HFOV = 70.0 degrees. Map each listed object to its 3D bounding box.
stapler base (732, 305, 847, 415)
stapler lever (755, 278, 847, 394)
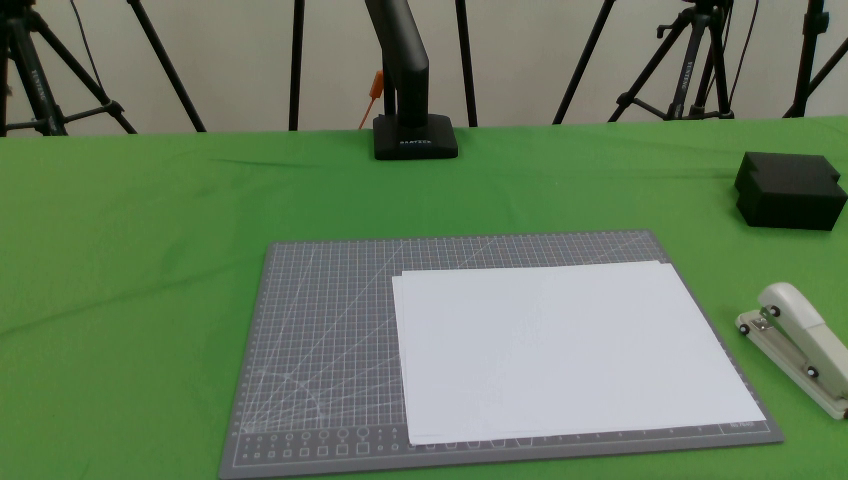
[{"bbox_3d":[0.344,0.100,0.557,0.041,0.024,0.129,-13,41,-15],"label":"stapler base"},{"bbox_3d":[0.346,0.081,0.540,0.027,0.040,0.116,-13,41,-15],"label":"stapler lever"}]
